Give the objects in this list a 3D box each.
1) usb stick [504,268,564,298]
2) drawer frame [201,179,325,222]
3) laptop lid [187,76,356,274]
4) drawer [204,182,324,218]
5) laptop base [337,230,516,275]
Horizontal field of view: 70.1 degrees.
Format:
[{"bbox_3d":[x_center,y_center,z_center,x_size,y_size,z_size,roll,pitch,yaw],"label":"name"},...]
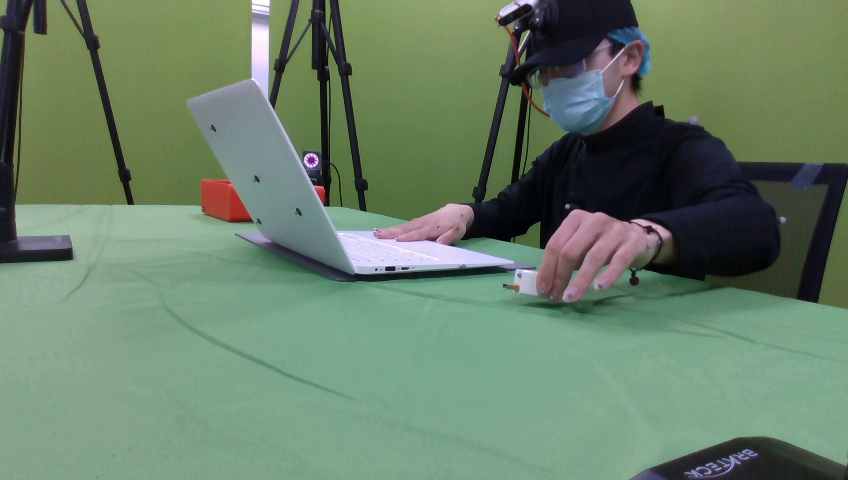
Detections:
[{"bbox_3d":[0.110,0.043,0.610,0.059,0.027,0.021,4,-1,-14],"label":"usb stick"},{"bbox_3d":[-0.361,-0.092,1.356,0.215,0.082,0.200,-4,10,-37],"label":"drawer frame"},{"bbox_3d":[-0.210,-0.082,0.772,0.013,0.242,0.355,-34,25,-23],"label":"laptop lid"},{"bbox_3d":[-0.360,-0.092,1.358,0.213,0.073,0.193,-3,10,-36],"label":"drawer"},{"bbox_3d":[-0.065,0.014,0.877,0.237,0.023,0.352,2,6,-32],"label":"laptop base"}]
